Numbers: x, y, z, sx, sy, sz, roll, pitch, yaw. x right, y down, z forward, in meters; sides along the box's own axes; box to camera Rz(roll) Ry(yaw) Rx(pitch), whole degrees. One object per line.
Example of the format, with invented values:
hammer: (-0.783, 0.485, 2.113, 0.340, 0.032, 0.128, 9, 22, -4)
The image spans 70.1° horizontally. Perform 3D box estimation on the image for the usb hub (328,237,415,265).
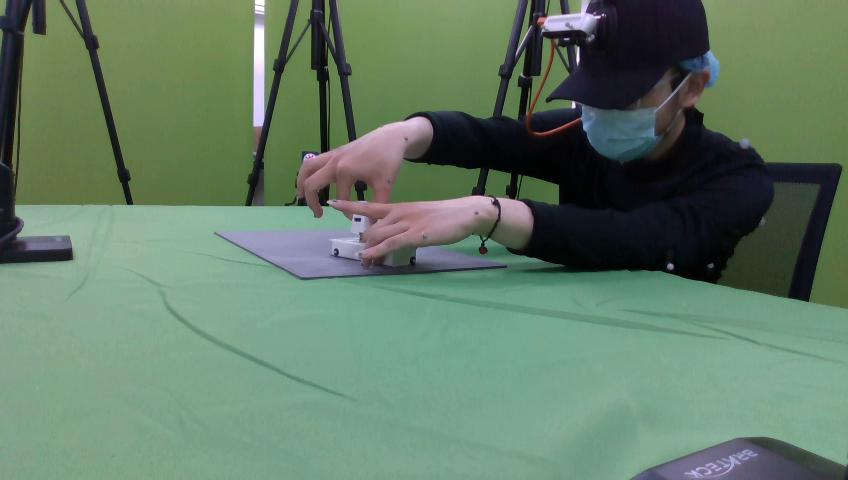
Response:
usb hub: (-0.074, 0.014, 0.837, 0.124, 0.025, 0.050, 7, 8, 39)

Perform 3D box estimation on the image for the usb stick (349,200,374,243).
usb stick: (-0.086, -0.024, 0.830, 0.021, 0.059, 0.027, 5, -2, 33)
